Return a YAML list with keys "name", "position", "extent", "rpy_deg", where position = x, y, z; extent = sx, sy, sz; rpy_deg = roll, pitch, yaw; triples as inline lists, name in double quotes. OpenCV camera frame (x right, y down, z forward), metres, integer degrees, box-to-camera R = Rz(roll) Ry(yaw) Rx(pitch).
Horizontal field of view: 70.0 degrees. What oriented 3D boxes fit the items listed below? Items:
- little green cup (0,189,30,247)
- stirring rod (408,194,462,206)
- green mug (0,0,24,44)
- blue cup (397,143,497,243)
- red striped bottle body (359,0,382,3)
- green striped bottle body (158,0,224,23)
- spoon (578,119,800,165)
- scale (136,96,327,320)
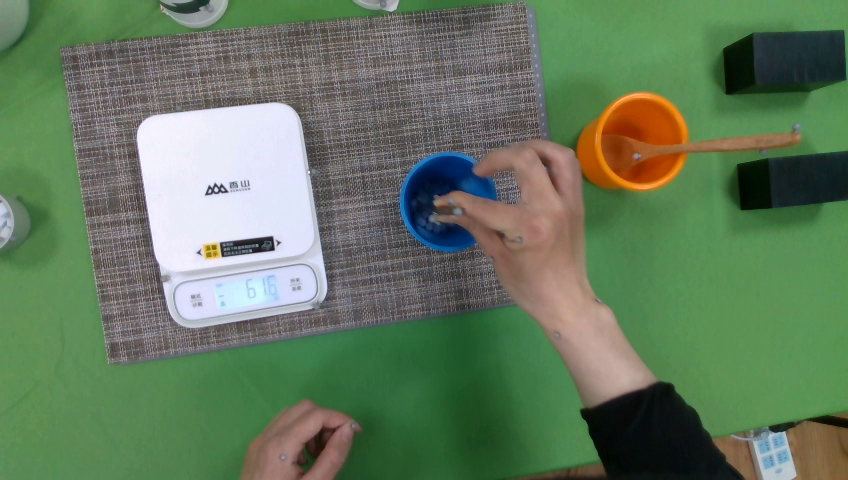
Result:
- name: "little green cup"
  position: [-0.394, -0.020, 0.548]
  extent: [0.062, 0.038, 0.061]
  rpy_deg: [0, 92, -8]
- name: "stirring rod"
  position: [0.005, -0.034, 0.502]
  extent: [0.014, 0.175, 0.006]
  rpy_deg: [-10, 97, -9]
- name: "green mug"
  position: [-0.413, -0.200, 0.507]
  extent: [0.093, 0.105, 0.125]
  rpy_deg: [27, 89, -7]
- name: "blue cup"
  position: [0.015, -0.042, 0.561]
  extent: [0.093, 0.100, 0.092]
  rpy_deg: [0, 93, -6]
- name: "red striped bottle body"
  position: [-0.048, -0.263, 0.540]
  extent: [0.063, 0.119, 0.063]
  rpy_deg: [0, 91, -7]
- name: "green striped bottle body"
  position: [-0.215, -0.237, 0.521]
  extent: [0.063, 0.119, 0.063]
  rpy_deg: [0, 92, -7]
- name: "spoon"
  position: [0.238, -0.095, 0.565]
  extent: [0.022, 0.192, 0.042]
  rpy_deg: [-13, 102, -50]
- name: "scale"
  position: [-0.179, -0.030, 0.573]
  extent: [0.149, 0.031, 0.201]
  rpy_deg: [-9, 93, -6]
